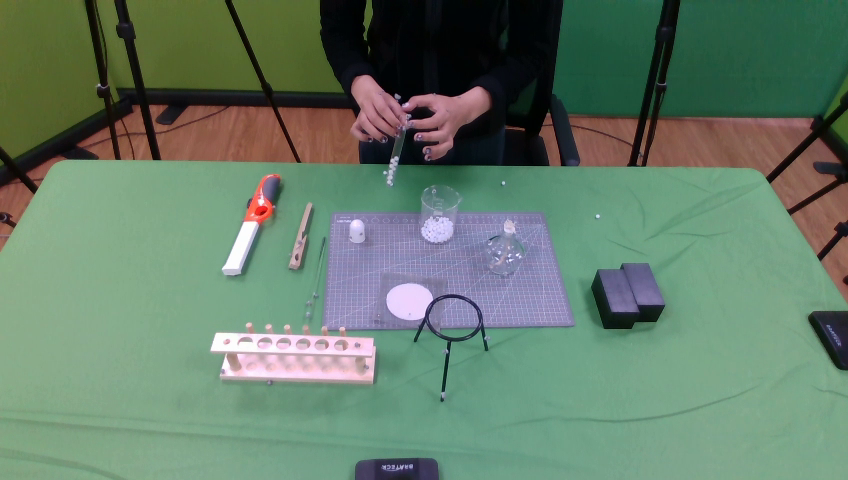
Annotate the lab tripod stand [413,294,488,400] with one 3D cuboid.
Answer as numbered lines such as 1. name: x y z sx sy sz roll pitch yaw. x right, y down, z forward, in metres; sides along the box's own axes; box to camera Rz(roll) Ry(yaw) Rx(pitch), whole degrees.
1. lab tripod stand: 0.044 0.159 0.972 0.148 0.132 0.147 2 44 -2

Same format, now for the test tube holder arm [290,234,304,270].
1. test tube holder arm: -0.243 0.021 1.164 0.010 0.015 0.087 30 38 -27

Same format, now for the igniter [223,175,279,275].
1. igniter: -0.341 -0.039 1.206 0.057 0.025 0.275 -1 45 8

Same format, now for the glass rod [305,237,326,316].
1. glass rod: -0.202 0.063 1.131 0.008 0.008 0.198 4 44 0

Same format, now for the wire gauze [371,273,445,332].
1. wire gauze: -0.028 0.108 1.100 0.125 0.011 0.121 8 45 4

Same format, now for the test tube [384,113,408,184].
1. test tube: -0.052 -0.162 1.092 0.017 0.151 0.017 11 40 -9

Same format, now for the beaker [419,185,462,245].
1. beaker: 0.029 -0.047 1.191 0.084 0.101 0.073 -6 47 -10

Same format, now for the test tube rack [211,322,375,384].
1. test tube rack: -0.202 0.176 0.969 0.242 0.085 0.066 3 46 -2

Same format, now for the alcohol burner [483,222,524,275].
1. alcohol burner: 0.152 0.009 1.136 0.078 0.119 0.077 4 47 -4

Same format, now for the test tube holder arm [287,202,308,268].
1. test tube holder arm: -0.247 -0.013 1.193 0.013 0.015 0.177 30 39 -27

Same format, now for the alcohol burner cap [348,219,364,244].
1. alcohol burner cap: -0.134 -0.019 1.190 0.034 0.048 0.033 2 46 -2
